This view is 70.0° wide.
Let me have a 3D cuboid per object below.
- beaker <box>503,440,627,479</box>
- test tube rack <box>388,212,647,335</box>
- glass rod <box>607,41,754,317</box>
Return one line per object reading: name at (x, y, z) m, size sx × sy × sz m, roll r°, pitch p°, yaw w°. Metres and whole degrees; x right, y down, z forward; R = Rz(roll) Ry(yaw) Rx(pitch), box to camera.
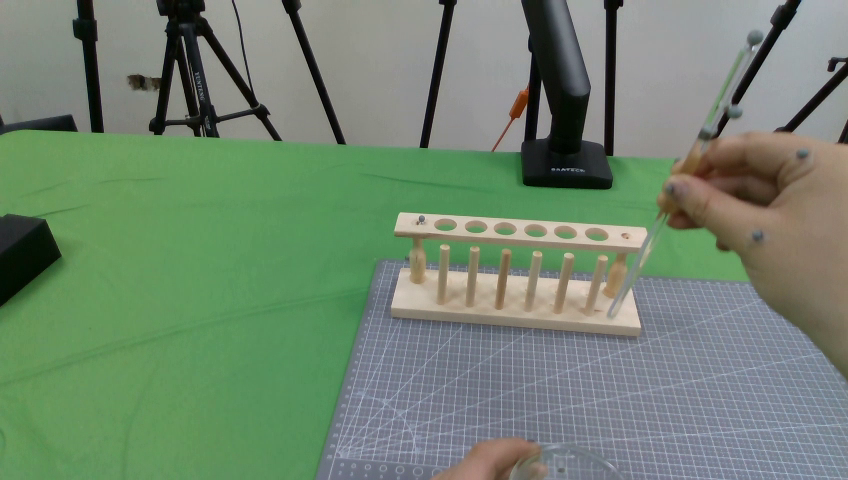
beaker at (0.075, 0.182, 0.362) m, size 0.084 × 0.101 × 0.073 m, roll -5°, pitch 37°, yaw -12°
test tube rack at (0.088, 0.032, 0.598) m, size 0.242 × 0.086 × 0.066 m, roll 4°, pitch 36°, yaw 5°
glass rod at (0.134, -0.017, 0.335) m, size 0.008 × 0.201 × 0.008 m, roll 3°, pitch 47°, yaw -3°
